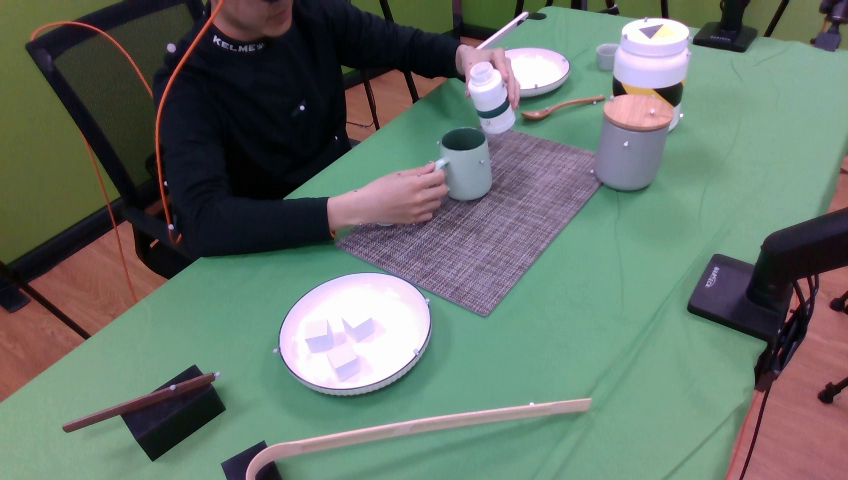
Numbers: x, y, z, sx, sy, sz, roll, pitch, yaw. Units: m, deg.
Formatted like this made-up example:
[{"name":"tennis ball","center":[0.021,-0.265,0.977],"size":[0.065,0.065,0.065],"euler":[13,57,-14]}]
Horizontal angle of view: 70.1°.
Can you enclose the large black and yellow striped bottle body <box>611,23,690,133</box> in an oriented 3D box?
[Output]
[{"name":"large black and yellow striped bottle body","center":[0.420,-0.299,1.132],"size":[0.131,0.185,0.130],"euler":[-5,40,4]}]

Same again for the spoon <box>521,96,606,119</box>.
[{"name":"spoon","center":[0.291,-0.277,1.249],"size":[0.194,0.022,0.041],"euler":[-18,22,-11]}]

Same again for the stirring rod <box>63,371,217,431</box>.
[{"name":"stirring rod","center":[-0.337,0.192,0.723],"size":[0.177,0.014,0.005],"euler":[-18,42,-12]}]

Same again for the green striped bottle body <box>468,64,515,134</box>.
[{"name":"green striped bottle body","center":[0.117,-0.250,1.064],"size":[0.063,0.120,0.063],"euler":[-13,46,14]}]

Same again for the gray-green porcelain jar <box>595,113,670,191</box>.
[{"name":"gray-green porcelain jar","center":[0.346,-0.155,1.017],"size":[0.106,0.127,0.105],"euler":[-2,44,2]}]

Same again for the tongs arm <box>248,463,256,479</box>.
[{"name":"tongs arm","center":[0.012,0.262,0.615],"size":[0.385,0.026,0.050],"euler":[2,41,-2]}]

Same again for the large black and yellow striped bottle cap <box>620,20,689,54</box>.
[{"name":"large black and yellow striped bottle cap","center":[0.411,-0.363,1.079],"size":[0.115,0.019,0.114],"euler":[-3,42,4]}]

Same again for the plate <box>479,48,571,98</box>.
[{"name":"plate","center":[0.223,-0.371,1.357],"size":[0.209,0.038,0.208],"euler":[-4,41,4]}]

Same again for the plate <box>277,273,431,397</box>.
[{"name":"plate","center":[-0.091,0.129,0.821],"size":[0.207,0.039,0.206],"euler":[-4,40,4]}]

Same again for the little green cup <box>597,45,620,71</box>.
[{"name":"little green cup","center":[0.423,-0.413,1.376],"size":[0.061,0.039,0.061],"euler":[-4,41,4]}]

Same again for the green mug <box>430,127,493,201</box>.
[{"name":"green mug","center":[0.059,-0.122,1.034],"size":[0.126,0.105,0.091],"euler":[-35,48,-28]}]

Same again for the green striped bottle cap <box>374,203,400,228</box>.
[{"name":"green striped bottle cap","center":[-0.063,-0.042,1.030],"size":[0.044,0.020,0.044],"euler":[-2,44,2]}]

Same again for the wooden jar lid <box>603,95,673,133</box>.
[{"name":"wooden jar lid","center":[0.343,-0.200,0.974],"size":[0.108,0.021,0.108],"euler":[-2,39,2]}]

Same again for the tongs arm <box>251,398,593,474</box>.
[{"name":"tongs arm","center":[0.008,0.212,0.675],"size":[0.389,0.028,0.028],"euler":[-5,46,-11]}]
